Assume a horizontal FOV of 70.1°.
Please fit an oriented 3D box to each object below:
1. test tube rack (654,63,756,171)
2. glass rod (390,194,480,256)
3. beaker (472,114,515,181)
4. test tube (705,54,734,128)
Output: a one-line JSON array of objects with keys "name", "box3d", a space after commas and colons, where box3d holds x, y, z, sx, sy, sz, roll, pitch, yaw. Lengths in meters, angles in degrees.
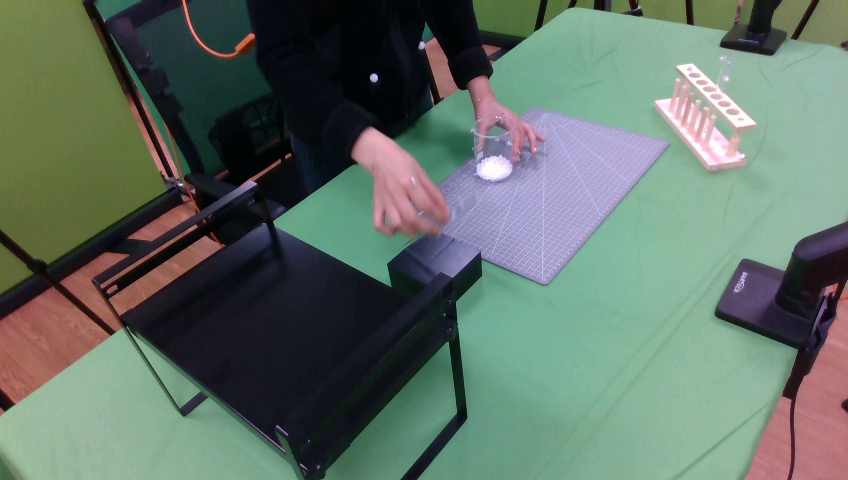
[{"name": "test tube rack", "box3d": [0.510, -0.233, 1.120, 0.067, 0.085, 0.241, -8, 41, -1]}, {"name": "glass rod", "box3d": [0.010, -0.018, 0.856, 0.199, 0.008, 0.008, -33, 21, 42]}, {"name": "beaker", "box3d": [0.127, -0.165, 1.084, 0.073, 0.101, 0.084, 16, 46, 24]}, {"name": "test tube", "box3d": [0.523, -0.260, 1.073, 0.017, 0.151, 0.017, -4, 46, 4]}]
